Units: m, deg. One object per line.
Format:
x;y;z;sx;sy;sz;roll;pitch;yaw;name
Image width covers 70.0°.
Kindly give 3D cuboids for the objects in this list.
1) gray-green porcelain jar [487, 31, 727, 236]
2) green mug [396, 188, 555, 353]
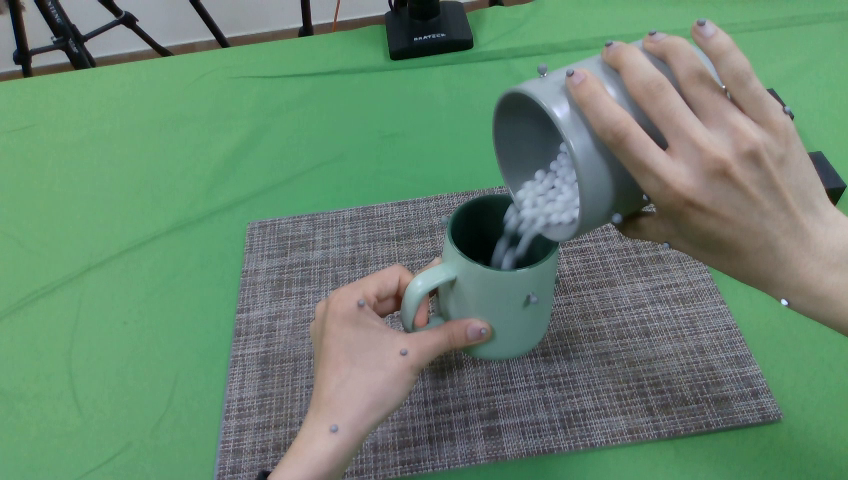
0.123;-0.074;0.404;0.126;0.107;0.104;-23;51;-15;gray-green porcelain jar
0.037;0.031;0.452;0.125;0.106;0.091;-22;51;-21;green mug
